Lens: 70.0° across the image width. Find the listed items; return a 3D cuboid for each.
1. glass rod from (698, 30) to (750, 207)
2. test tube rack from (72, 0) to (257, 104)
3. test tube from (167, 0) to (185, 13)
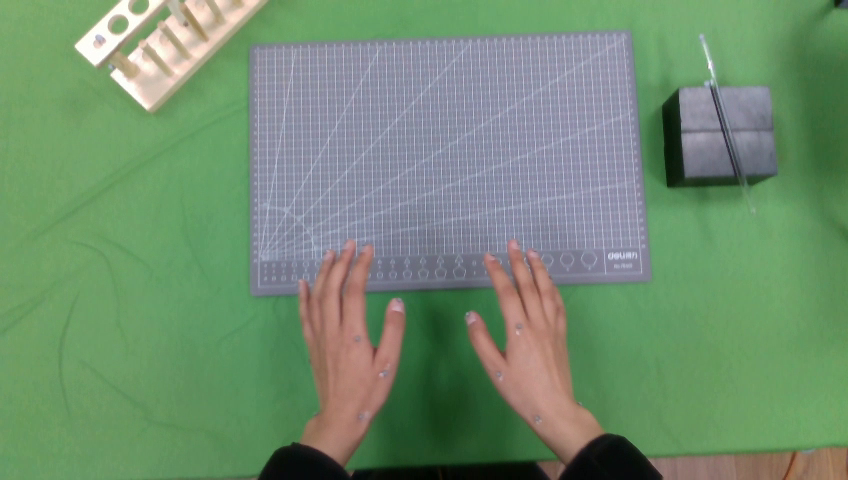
[{"bbox_3d":[0.321,-0.132,0.649,0.008,0.008,0.199,-12,84,-1],"label":"glass rod"},{"bbox_3d":[-0.261,-0.273,0.679,0.066,0.085,0.242,43,85,6],"label":"test tube rack"},{"bbox_3d":[-0.284,-0.285,0.630,0.017,0.151,0.017,0,76,2],"label":"test tube"}]
